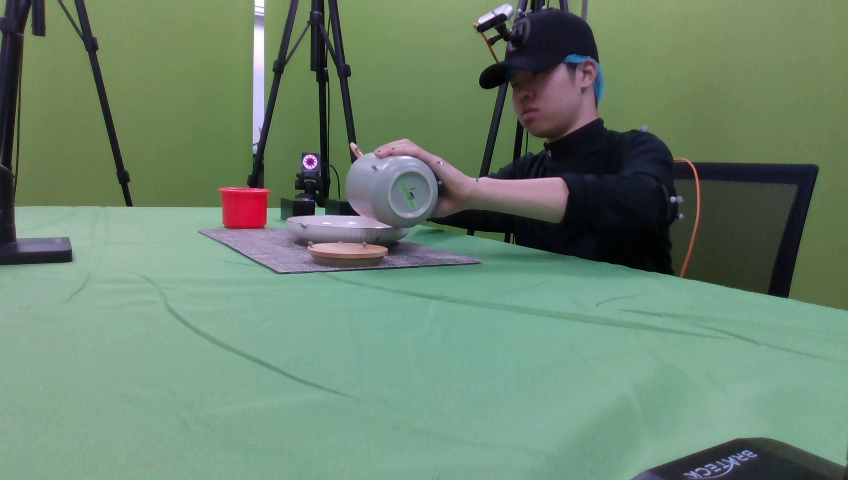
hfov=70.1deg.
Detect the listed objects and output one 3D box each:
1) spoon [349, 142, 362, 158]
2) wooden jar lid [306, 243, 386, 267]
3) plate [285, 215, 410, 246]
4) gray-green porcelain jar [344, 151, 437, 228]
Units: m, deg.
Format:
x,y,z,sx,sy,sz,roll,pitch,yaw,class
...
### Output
x,y,z,sx,sy,sz,roll,pitch,yaw,class
-0.076,-0.102,0.942,0.042,0.021,0.193,6,30,-42,spoon
-0.105,0.020,0.816,0.108,0.020,0.108,1,7,0,wooden jar lid
-0.127,-0.015,1.012,0.208,0.039,0.207,3,7,0,plate
-0.048,-0.076,0.896,0.106,0.106,0.126,-1,11,-28,gray-green porcelain jar
